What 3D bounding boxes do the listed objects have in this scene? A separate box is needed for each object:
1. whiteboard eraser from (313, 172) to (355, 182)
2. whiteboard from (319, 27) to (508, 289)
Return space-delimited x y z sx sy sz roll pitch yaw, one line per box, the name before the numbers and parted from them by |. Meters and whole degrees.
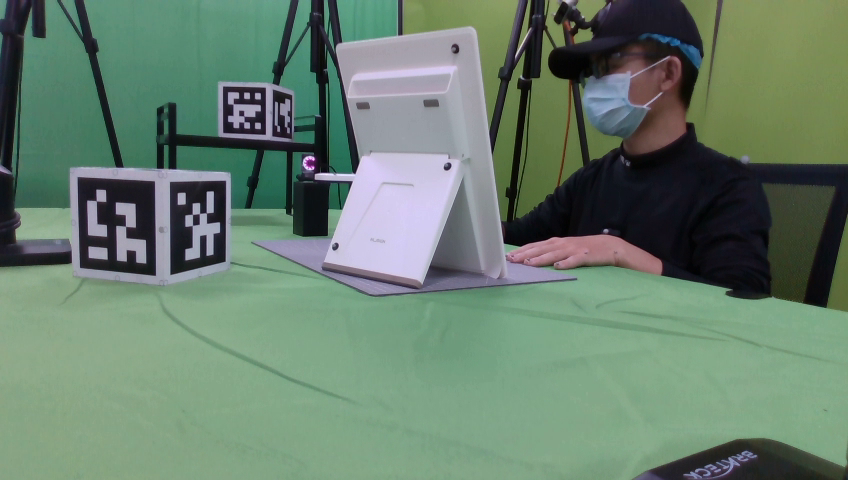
whiteboard eraser | -0.163 -0.121 1.158 0.102 0.019 0.041 -1 6 -33
whiteboard | -0.046 -0.076 0.721 0.216 0.305 0.144 9 29 39
